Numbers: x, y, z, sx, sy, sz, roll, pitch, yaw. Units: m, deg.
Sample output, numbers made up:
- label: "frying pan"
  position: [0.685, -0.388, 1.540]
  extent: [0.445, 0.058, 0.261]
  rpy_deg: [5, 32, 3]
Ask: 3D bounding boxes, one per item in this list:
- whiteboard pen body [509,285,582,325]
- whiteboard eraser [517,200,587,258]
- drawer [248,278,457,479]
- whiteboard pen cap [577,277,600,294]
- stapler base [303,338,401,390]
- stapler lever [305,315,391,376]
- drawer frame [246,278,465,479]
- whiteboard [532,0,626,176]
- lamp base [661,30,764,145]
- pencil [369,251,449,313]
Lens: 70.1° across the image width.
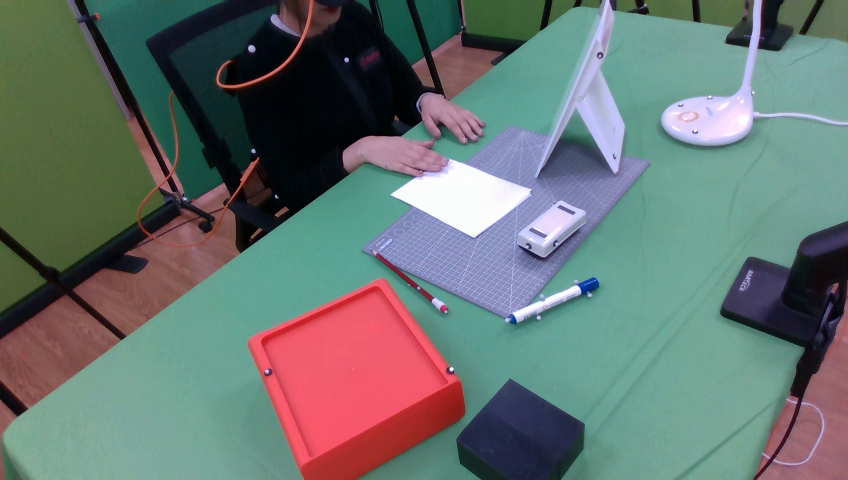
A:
- label: "whiteboard pen body"
  position: [0.180, 0.086, 0.845]
  extent: [0.141, 0.017, 0.017]
  rpy_deg: [-21, 42, -17]
- label: "whiteboard eraser"
  position: [0.200, -0.016, 0.943]
  extent: [0.113, 0.042, 0.055]
  rpy_deg: [-37, 46, -29]
- label: "drawer"
  position: [-0.092, 0.168, 0.756]
  extent: [0.195, 0.073, 0.210]
  rpy_deg: [-24, 43, -18]
- label: "whiteboard pen cap"
  position: [0.233, 0.066, 0.864]
  extent: [0.033, 0.018, 0.018]
  rpy_deg: [-20, 41, -17]
- label: "stapler base"
  position: [-0.096, 0.160, 0.813]
  extent: [0.131, 0.024, 0.041]
  rpy_deg: [-16, 42, -18]
- label: "stapler lever"
  position: [-0.100, 0.136, 0.790]
  extent: [0.118, 0.040, 0.026]
  rpy_deg: [-23, 43, -12]
- label: "drawer frame"
  position: [-0.088, 0.168, 0.752]
  extent: [0.202, 0.083, 0.211]
  rpy_deg: [-24, 43, -18]
- label: "whiteboard"
  position: [0.321, -0.258, 1.050]
  extent: [0.144, 0.306, 0.217]
  rpy_deg: [21, 45, 5]
- label: "lamp base"
  position: [0.535, -0.287, 1.096]
  extent: [0.179, 0.181, 0.159]
  rpy_deg: [-10, 40, -4]
- label: "pencil"
  position: [-0.029, 0.060, 0.924]
  extent: [0.012, 0.012, 0.192]
  rpy_deg: [-33, 46, -25]
